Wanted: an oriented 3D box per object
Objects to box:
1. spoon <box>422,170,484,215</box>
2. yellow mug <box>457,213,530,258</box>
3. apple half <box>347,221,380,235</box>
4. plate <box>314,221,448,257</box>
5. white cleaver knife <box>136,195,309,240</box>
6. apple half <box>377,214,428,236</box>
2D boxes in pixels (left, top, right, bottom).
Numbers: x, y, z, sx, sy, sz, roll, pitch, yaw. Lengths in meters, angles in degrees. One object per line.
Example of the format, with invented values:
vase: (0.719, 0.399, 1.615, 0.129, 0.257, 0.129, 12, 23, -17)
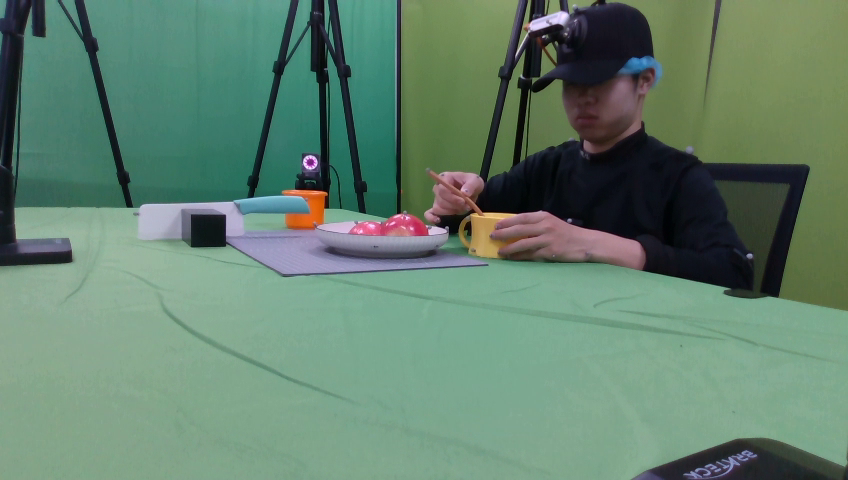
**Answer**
spoon: (0.076, -0.055, 0.982, 0.194, 0.021, 0.041, 40, 7, -5)
yellow mug: (0.108, -0.011, 0.992, 0.130, 0.064, 0.100, 7, 7, 36)
apple half: (-0.088, -0.014, 0.985, 0.081, 0.033, 0.081, 5, 5, 0)
plate: (-0.066, -0.002, 0.948, 0.209, 0.038, 0.209, 3, 7, 0)
white cleaver knife: (-0.337, -0.039, 1.037, 0.288, 0.066, 0.021, -6, 15, -29)
apple half: (-0.034, -0.013, 0.924, 0.080, 0.053, 0.075, 5, 10, 16)
